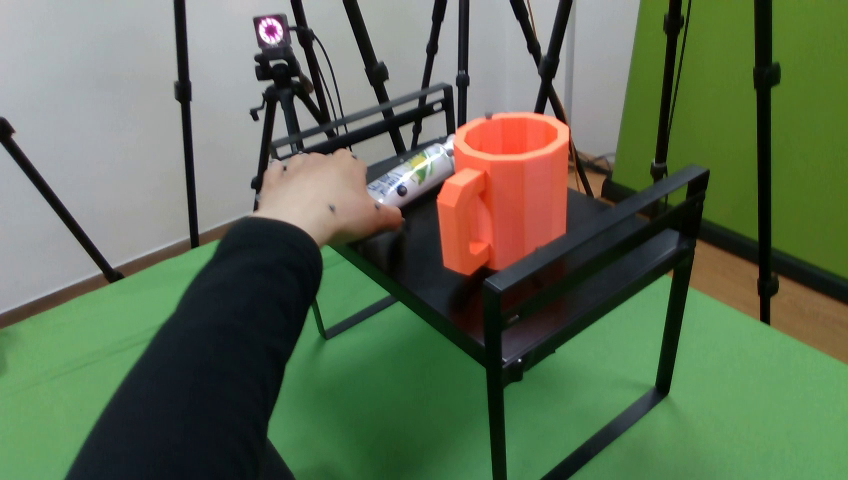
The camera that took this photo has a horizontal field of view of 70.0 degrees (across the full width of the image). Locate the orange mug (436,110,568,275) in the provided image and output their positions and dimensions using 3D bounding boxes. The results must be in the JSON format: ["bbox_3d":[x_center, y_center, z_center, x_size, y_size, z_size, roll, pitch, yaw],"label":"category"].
[{"bbox_3d":[0.056,-0.033,0.458,0.083,0.101,0.126,21,38,35],"label":"orange mug"}]

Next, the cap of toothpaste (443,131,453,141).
[{"bbox_3d":[0.030,-0.091,0.604,0.011,0.038,0.037,-35,43,-29],"label":"cap of toothpaste"}]

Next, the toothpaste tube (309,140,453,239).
[{"bbox_3d":[-0.028,-0.052,0.568,0.165,0.035,0.054,-35,38,-30],"label":"toothpaste tube"}]

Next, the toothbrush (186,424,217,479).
[{"bbox_3d":[-0.152,0.201,0.454,0.014,0.017,0.180,-20,36,-25],"label":"toothbrush"}]
